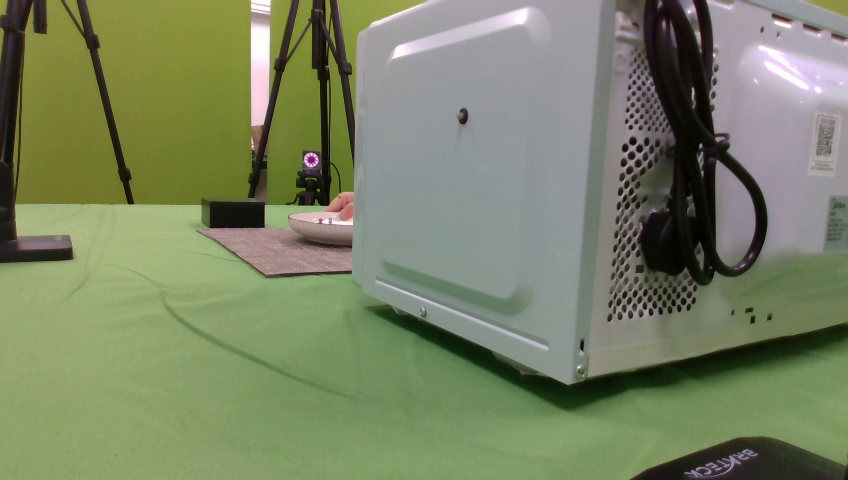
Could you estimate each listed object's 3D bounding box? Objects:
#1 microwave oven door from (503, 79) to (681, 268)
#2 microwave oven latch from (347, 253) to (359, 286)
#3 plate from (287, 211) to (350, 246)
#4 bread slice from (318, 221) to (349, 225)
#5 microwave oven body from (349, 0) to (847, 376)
[{"bbox_3d":[0.235,-0.105,0.926,0.039,0.243,0.354,-1,8,-24],"label":"microwave oven door"},{"bbox_3d":[-0.034,0.028,0.581,0.079,0.029,0.030,-1,7,-32],"label":"microwave oven latch"},{"bbox_3d":[-0.123,-0.019,1.008,0.209,0.038,0.209,4,8,0],"label":"plate"},{"bbox_3d":[-0.123,-0.017,1.005,0.131,0.019,0.105,5,8,12],"label":"bread slice"},{"bbox_3d":[0.199,-0.053,0.540,0.444,0.260,0.324,-1,7,-32],"label":"microwave oven body"}]
